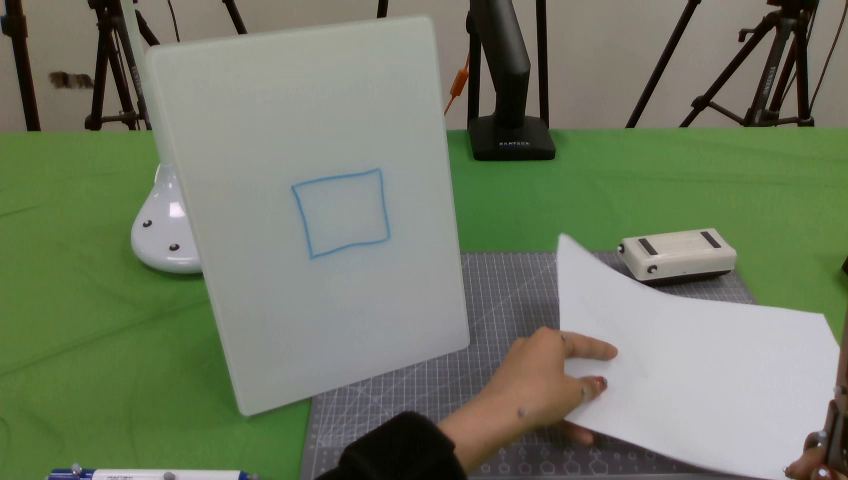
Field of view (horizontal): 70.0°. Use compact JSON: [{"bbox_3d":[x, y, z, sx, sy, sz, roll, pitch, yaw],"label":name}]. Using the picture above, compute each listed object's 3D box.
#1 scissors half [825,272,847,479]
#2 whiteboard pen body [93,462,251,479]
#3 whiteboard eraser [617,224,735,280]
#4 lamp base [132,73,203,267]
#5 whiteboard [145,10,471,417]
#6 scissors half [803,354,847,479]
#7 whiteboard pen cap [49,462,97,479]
[{"bbox_3d":[0.259,0.104,0.371,0.013,0.175,0.040,-1,4,13],"label":"scissors half"},{"bbox_3d":[-0.203,0.177,0.460,0.141,0.017,0.017,1,37,-3],"label":"whiteboard pen body"},{"bbox_3d":[0.275,0.015,0.666,0.113,0.042,0.055,-6,39,-8],"label":"whiteboard eraser"},{"bbox_3d":[-0.271,-0.086,0.680,0.177,0.182,0.160,26,44,33],"label":"lamp base"},{"bbox_3d":[-0.096,-0.034,0.559,0.218,0.307,0.142,-14,20,-17],"label":"whiteboard"},{"bbox_3d":[0.263,0.101,0.390,0.013,0.176,0.040,-2,20,8],"label":"scissors half"},{"bbox_3d":[-0.262,0.176,0.457,0.033,0.018,0.018,1,37,-4],"label":"whiteboard pen cap"}]
